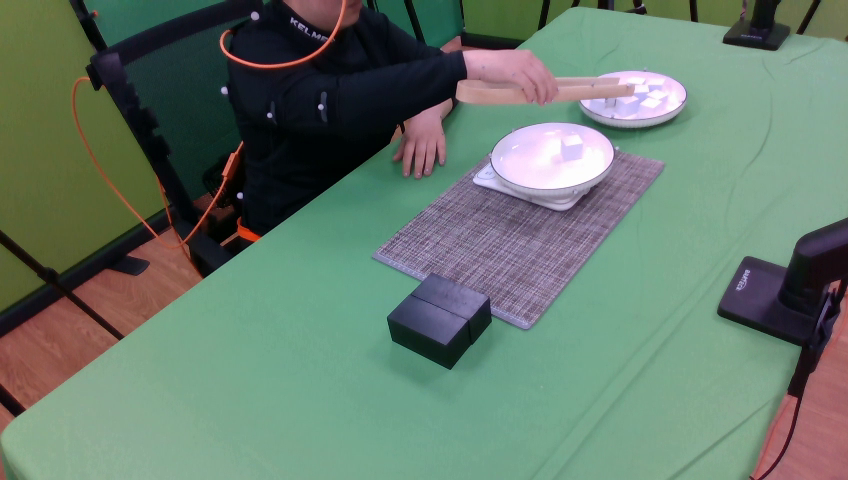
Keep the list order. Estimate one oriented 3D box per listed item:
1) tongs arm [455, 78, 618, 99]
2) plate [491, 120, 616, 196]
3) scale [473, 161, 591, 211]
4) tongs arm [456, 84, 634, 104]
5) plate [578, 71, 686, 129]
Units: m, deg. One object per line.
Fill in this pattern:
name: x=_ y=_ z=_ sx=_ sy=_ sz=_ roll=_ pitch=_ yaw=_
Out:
tongs arm: x=0.214 y=-0.277 z=1.093 sx=0.390 sy=0.028 sz=0.028 roll=-10 pitch=37 yaw=-30
plate: x=0.221 y=-0.137 z=1.038 sx=0.207 sy=0.039 sz=0.206 roll=-6 pitch=41 yaw=5
scale: x=0.202 y=-0.121 z=1.074 sx=0.199 sy=0.032 sz=0.149 roll=23 pitch=49 yaw=33
tongs arm: x=0.227 y=-0.264 z=1.072 sx=0.387 sy=0.026 sz=0.050 roll=-12 pitch=35 yaw=-32
plate: x=0.416 y=-0.279 z=1.222 sx=0.209 sy=0.038 sz=0.208 roll=-5 pitch=41 yaw=5
